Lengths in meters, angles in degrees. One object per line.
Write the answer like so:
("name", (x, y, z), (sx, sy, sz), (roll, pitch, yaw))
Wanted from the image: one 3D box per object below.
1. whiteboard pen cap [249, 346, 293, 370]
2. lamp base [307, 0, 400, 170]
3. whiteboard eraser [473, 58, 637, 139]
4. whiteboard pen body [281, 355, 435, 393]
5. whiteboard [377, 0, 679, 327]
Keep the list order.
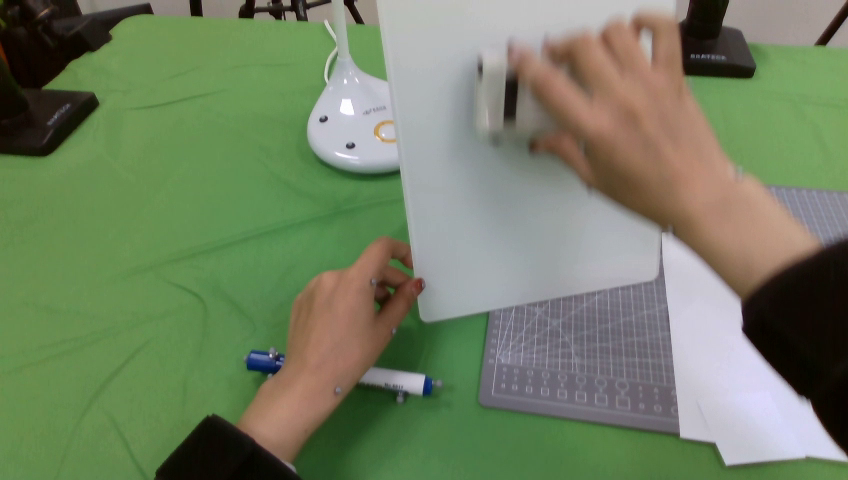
("whiteboard pen cap", (-0.120, 0.094, 0.479), (0.033, 0.018, 0.018), (6, 45, 5))
("lamp base", (-0.066, -0.195, 0.660), (0.161, 0.182, 0.177), (-30, 49, -25))
("whiteboard eraser", (0.092, -0.101, 0.433), (0.113, 0.056, 0.041), (-3, 24, -10))
("whiteboard pen body", (-0.062, 0.102, 0.471), (0.140, 0.017, 0.017), (6, 46, 6))
("whiteboard", (0.077, -0.109, 0.522), (0.217, 0.308, 0.142), (-10, 26, -5))
